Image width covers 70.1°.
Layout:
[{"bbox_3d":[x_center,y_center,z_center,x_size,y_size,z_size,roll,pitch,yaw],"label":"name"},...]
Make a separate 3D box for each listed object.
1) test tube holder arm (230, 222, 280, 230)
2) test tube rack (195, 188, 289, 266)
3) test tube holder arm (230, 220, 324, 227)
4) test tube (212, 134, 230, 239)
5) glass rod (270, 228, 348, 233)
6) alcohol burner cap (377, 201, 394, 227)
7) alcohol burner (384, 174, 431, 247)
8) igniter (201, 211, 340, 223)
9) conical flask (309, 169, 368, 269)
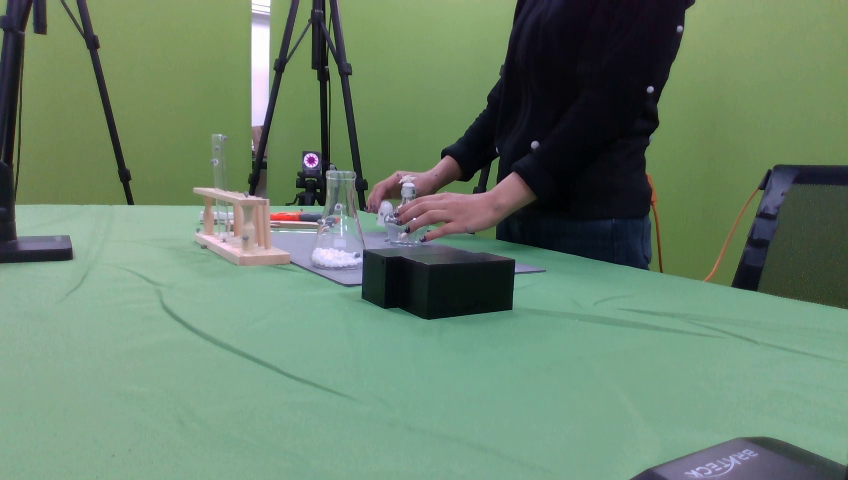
[{"bbox_3d":[-0.312,-0.025,1.118,0.088,0.015,0.010,-1,44,-30],"label":"test tube holder arm"},{"bbox_3d":[-0.266,-0.025,0.864,0.067,0.085,0.241,-2,8,-33],"label":"test tube rack"},{"bbox_3d":[-0.275,-0.030,1.145,0.179,0.015,0.013,-2,45,-31],"label":"test tube holder arm"},{"bbox_3d":[-0.290,-0.075,0.863,0.017,0.150,0.017,-2,6,0],"label":"test tube"},{"bbox_3d":[-0.234,-0.017,1.105,0.201,0.008,0.008,1,7,-26],"label":"glass rod"},{"bbox_3d":[-0.073,-0.050,1.138,0.034,0.048,0.034,2,12,0],"label":"alcohol burner cap"},{"bbox_3d":[-0.026,-0.049,0.994,0.078,0.119,0.078,3,10,0],"label":"alcohol burner"},{"bbox_3d":[-0.311,-0.048,1.243,0.278,0.025,0.057,-1,-2,-24],"label":"igniter"},{"bbox_3d":[-0.107,-0.028,0.762,0.075,0.122,0.075,2,7,0],"label":"conical flask"}]
